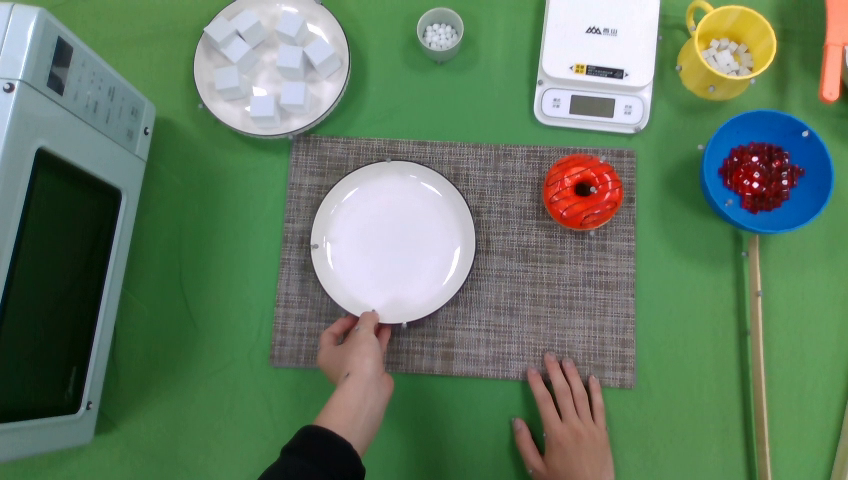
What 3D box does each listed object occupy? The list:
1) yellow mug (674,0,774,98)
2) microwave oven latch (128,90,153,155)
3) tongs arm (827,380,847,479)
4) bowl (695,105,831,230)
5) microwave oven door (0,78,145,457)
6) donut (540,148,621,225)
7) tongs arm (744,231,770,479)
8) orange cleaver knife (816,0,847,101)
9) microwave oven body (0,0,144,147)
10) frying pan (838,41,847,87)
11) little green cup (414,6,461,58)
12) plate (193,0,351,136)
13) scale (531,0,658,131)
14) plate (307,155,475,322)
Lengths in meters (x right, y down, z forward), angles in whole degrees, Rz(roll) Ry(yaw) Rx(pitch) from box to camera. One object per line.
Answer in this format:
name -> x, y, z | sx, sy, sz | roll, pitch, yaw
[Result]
yellow mug -> 0.373, -0.255, 0.777 | 0.100, 0.064, 0.130 | -29, 79, -2
microwave oven latch -> -0.372, -0.152, 0.781 | 0.030, 0.029, 0.079 | 7, 81, 3
tongs arm -> 0.495, 0.193, 0.715 | 0.028, 0.028, 0.386 | 19, 81, -4
bowl -> 0.397, -0.079, 0.739 | 0.151, 0.077, 0.151 | 0, 80, 2
microwave oven door -> -0.402, 0.043, 0.644 | 0.039, 0.245, 0.354 | 5, 80, 4
donut -> 0.194, -0.066, 0.757 | 0.099, 0.048, 0.098 | -1, 80, 4
tongs arm -> 0.410, 0.180, 0.714 | 0.051, 0.026, 0.383 | 4, 81, -3
orange cleaver knife -> 0.513, -0.267, 0.736 | 0.077, 0.012, 0.210 | 8, 81, 6
microwave oven body -> -0.543, -0.012, 0.665 | 0.326, 0.261, 0.440 | 6, 81, 3
frying pan -> 0.691, -0.175, 0.731 | 0.307, 0.103, 0.484 | -23, 72, -1
little green cup -> 0.019, -0.275, 0.808 | 0.061, 0.039, 0.061 | 0, 79, 3
plate -> -0.199, -0.234, 0.809 | 0.207, 0.039, 0.207 | 0, 80, 2
scale -> 0.225, -0.248, 0.798 | 0.148, 0.031, 0.200 | 7, 81, 4
plate -> -0.040, -0.002, 0.757 | 0.209, 0.038, 0.208 | 0, 79, 2
